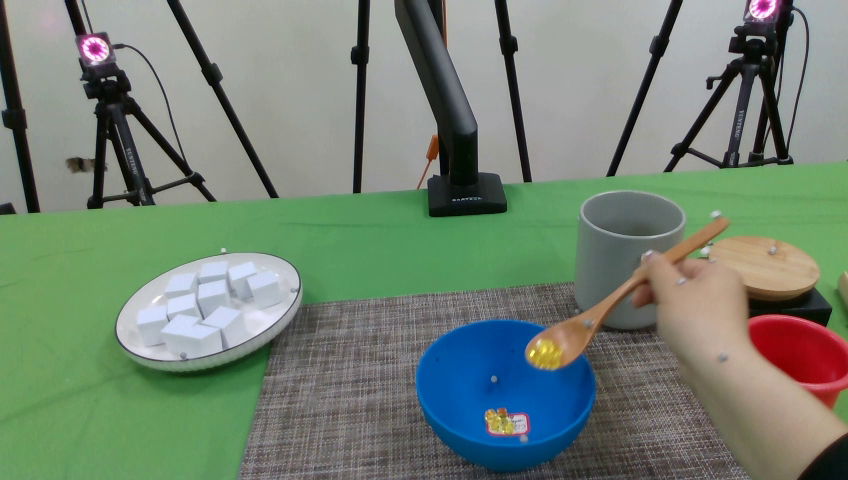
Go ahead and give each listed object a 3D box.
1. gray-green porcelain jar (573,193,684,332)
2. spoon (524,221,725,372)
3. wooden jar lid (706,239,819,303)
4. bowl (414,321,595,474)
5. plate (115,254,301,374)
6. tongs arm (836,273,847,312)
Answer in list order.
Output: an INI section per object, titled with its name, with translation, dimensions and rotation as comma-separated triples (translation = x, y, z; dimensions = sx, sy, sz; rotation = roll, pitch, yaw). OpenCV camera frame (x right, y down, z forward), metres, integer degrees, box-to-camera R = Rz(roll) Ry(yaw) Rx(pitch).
[gray-green porcelain jar]
translation = 0.219, 0.028, 0.662
dimensions = 0.106, 0.127, 0.105
rotation = -3, 31, 2
[spoon]
translation = 0.163, 0.045, 0.490
dimensions = 0.194, 0.022, 0.041
rotation = -40, 34, 6
[wooden jar lid]
translation = 0.360, 0.033, 0.650
dimensions = 0.108, 0.021, 0.107
rotation = -4, 31, 3
[bowl]
translation = 0.069, 0.147, 0.527
dimensions = 0.151, 0.077, 0.150
rotation = -3, 31, 2
[plate]
translation = -0.246, 0.086, 0.709
dimensions = 0.209, 0.038, 0.207
rotation = -4, 31, 3
[tongs arm]
translation = 0.445, 0.146, 0.542
dimensions = 0.028, 0.028, 0.385
rotation = 5, 32, 11
